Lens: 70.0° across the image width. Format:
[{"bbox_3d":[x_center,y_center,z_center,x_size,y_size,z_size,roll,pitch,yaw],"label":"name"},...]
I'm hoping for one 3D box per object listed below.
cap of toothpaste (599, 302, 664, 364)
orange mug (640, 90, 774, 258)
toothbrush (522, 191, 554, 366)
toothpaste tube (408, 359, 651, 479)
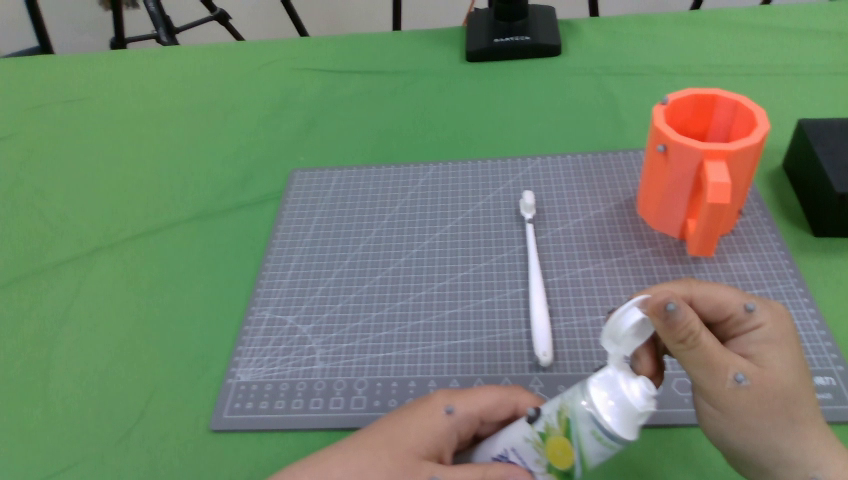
[{"bbox_3d":[0.104,0.046,0.298,0.037,0.038,0.011,-20,42,-12],"label":"cap of toothpaste"},{"bbox_3d":[0.228,-0.050,0.495,0.083,0.102,0.125,4,42,12],"label":"orange mug"},{"bbox_3d":[0.093,0.024,0.499,0.014,0.017,0.180,6,47,-2],"label":"toothbrush"},{"bbox_3d":[0.054,0.116,0.328,0.035,0.165,0.054,-2,52,-54],"label":"toothpaste tube"}]
